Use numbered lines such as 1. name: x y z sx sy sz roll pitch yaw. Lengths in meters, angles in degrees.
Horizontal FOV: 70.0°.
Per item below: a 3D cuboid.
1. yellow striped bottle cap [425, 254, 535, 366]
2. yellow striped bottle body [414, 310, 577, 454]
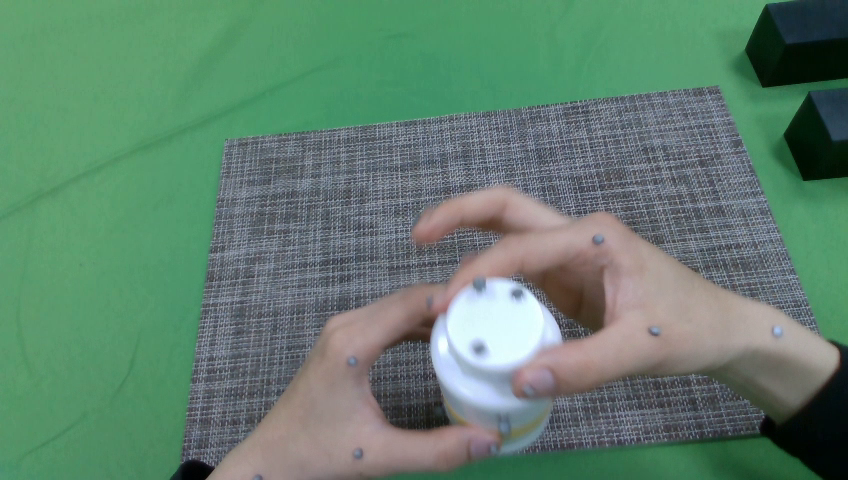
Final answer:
1. yellow striped bottle cap: 0.023 0.029 0.249 0.044 0.019 0.044 -2 67 6
2. yellow striped bottle body: 0.037 0.068 0.315 0.062 0.121 0.062 -13 57 20
